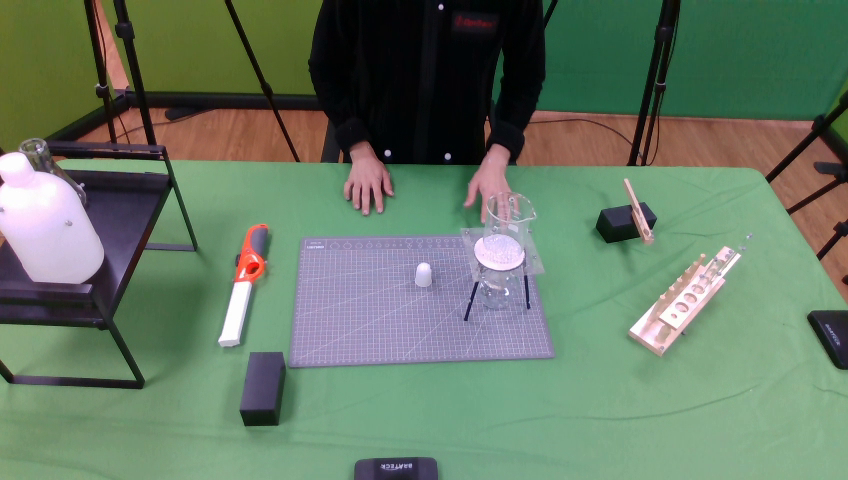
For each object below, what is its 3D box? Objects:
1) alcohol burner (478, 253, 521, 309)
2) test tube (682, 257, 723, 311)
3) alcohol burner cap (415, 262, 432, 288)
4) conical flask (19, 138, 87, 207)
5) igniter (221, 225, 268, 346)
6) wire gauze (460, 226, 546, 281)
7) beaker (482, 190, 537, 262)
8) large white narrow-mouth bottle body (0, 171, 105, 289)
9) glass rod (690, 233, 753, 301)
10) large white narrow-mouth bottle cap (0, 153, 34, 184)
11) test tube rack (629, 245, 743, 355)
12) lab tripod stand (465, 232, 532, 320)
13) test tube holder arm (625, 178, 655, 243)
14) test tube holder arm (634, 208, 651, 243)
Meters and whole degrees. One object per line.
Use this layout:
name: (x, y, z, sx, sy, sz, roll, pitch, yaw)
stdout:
alcohol burner: (0.134, 0.067, 1.073, 0.078, 0.120, 0.077, 0, 47, 0)
test tube: (0.475, 0.080, 1.037, 0.017, 0.151, 0.017, 1, 51, -1)
alcohol burner cap: (0.000, 0.061, 1.119, 0.034, 0.048, 0.033, 3, 43, -3)
conical flask: (-0.576, -0.097, 0.930, 0.075, 0.122, 0.075, 2, 46, -2)
igniter: (-0.323, 0.072, 1.100, 0.057, 0.025, 0.274, -6, 45, 5)
wire gauze: (0.130, 0.017, 1.016, 0.121, 0.011, 0.124, -4, 43, -9)
beaker: (0.136, -0.019, 0.983, 0.084, 0.101, 0.073, 17, 47, 14)
large white narrow-mouth bottle body: (-0.513, -0.029, 0.818, 0.102, 0.195, 0.101, 2, 46, -2)
glass rod: (0.507, 0.053, 1.041, 0.008, 0.200, 0.008, 5, 51, -6)
large white narrow-mouth bottle cap: (-0.510, -0.089, 0.755, 0.038, 0.024, 0.037, 2, 46, -2)
test tube rack: (0.474, 0.095, 1.091, 0.242, 0.085, 0.066, -34, 56, -31)
lab tripod stand: (0.125, 0.059, 1.065, 0.148, 0.132, 0.147, 1, 45, 0)
test tube holder arm: (0.433, -0.062, 1.220, 0.013, 0.015, 0.177, 1, 47, -3)
test tube holder arm: (0.428, -0.030, 1.189, 0.010, 0.015, 0.087, 1, 47, -2)
